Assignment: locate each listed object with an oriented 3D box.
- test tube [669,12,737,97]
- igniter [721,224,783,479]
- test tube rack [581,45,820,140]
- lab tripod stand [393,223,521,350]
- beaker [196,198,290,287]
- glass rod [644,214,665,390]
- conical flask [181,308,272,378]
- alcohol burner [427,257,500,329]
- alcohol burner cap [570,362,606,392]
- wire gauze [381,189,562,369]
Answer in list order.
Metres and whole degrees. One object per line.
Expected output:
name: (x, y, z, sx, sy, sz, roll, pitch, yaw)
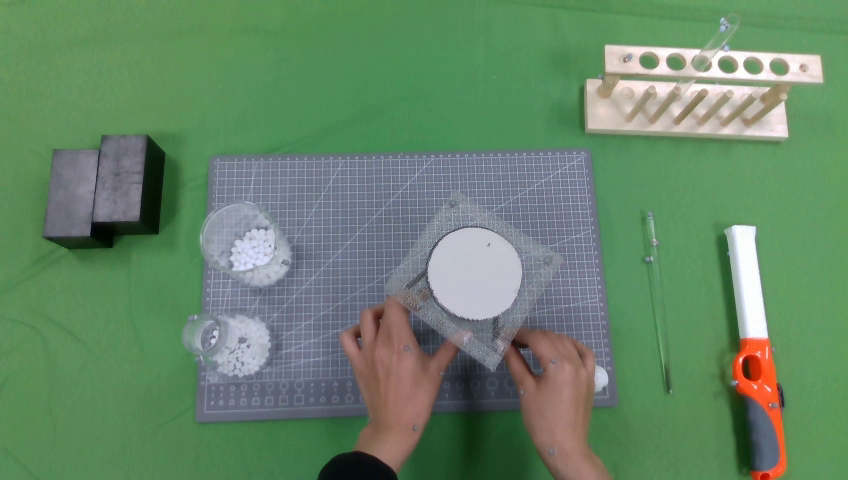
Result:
test tube: (0.300, -0.197, 0.661, 0.017, 0.151, 0.017, 0, 75, 1)
igniter: (0.359, 0.116, 0.665, 0.057, 0.025, 0.275, 3, 76, -12)
test tube rack: (0.315, -0.170, 0.706, 0.242, 0.085, 0.066, 2, 75, -1)
lab tripod stand: (0.039, 0.045, 0.615, 0.148, 0.132, 0.147, 0, 77, 0)
beaker: (-0.181, 0.009, 0.635, 0.084, 0.100, 0.074, 34, 77, 6)
glass rod: (0.261, 0.067, 0.684, 0.008, 0.008, 0.199, 0, 79, -2)
conical flask: (-0.200, 0.097, 0.600, 0.075, 0.122, 0.075, 0, 75, -2)
alcohol burner: (0.042, 0.052, 0.624, 0.078, 0.119, 0.077, 0, 77, 1)
alcohol burner cap: (0.176, 0.144, 0.642, 0.034, 0.048, 0.033, 1, 75, -2)
wire gauze: (0.044, 0.031, 0.550, 0.125, 0.011, 0.121, 35, 79, 7)
